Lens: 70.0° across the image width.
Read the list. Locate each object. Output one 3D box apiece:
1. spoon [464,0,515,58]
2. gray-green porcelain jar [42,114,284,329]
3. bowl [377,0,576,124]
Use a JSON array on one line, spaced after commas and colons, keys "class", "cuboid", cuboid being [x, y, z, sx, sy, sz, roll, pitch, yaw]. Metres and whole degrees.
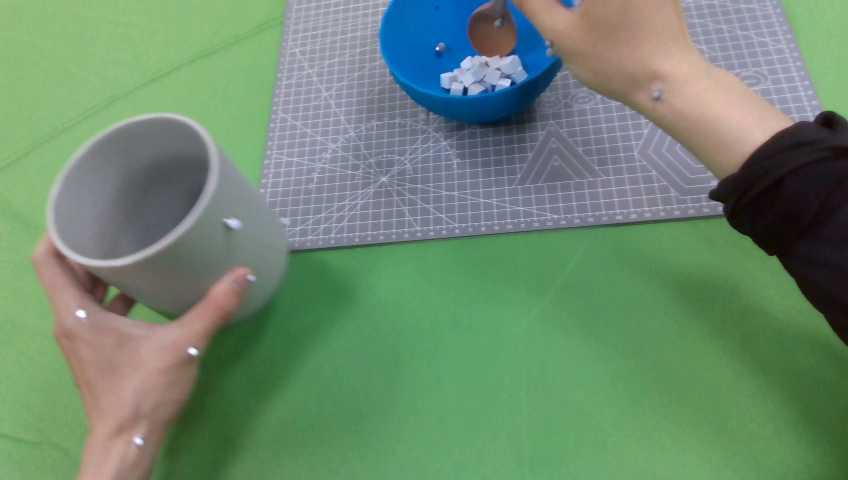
[{"class": "spoon", "cuboid": [0.052, -0.166, 0.399, 0.041, 0.194, 0.021, 26, 86, 0]}, {"class": "gray-green porcelain jar", "cuboid": [-0.160, -0.004, 0.403, 0.106, 0.127, 0.105, -5, 63, 9]}, {"class": "bowl", "cuboid": [0.045, -0.148, 0.489, 0.151, 0.077, 0.150, -5, 62, 9]}]
